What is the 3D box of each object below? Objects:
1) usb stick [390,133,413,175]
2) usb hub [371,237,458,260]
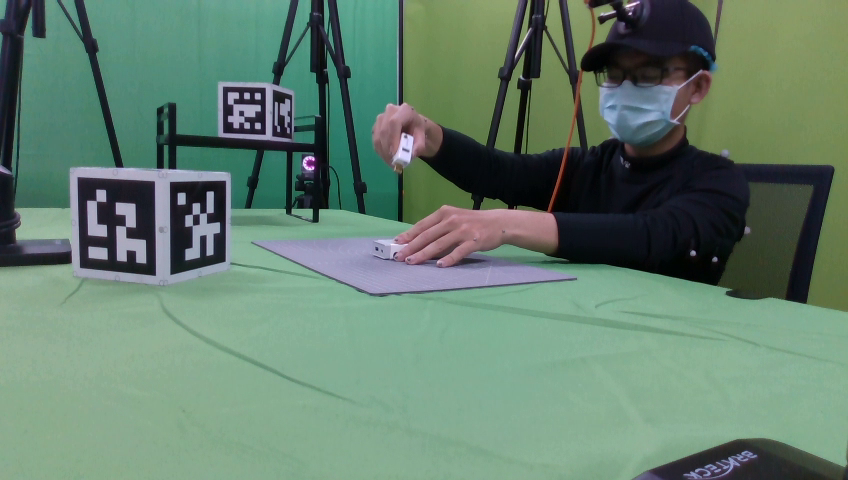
[{"bbox_3d":[-0.035,-0.128,0.909,0.021,0.059,0.027,21,-18,-28],"label":"usb stick"},{"bbox_3d":[-0.013,0.012,0.909,0.126,0.025,0.049,-2,11,-29],"label":"usb hub"}]
